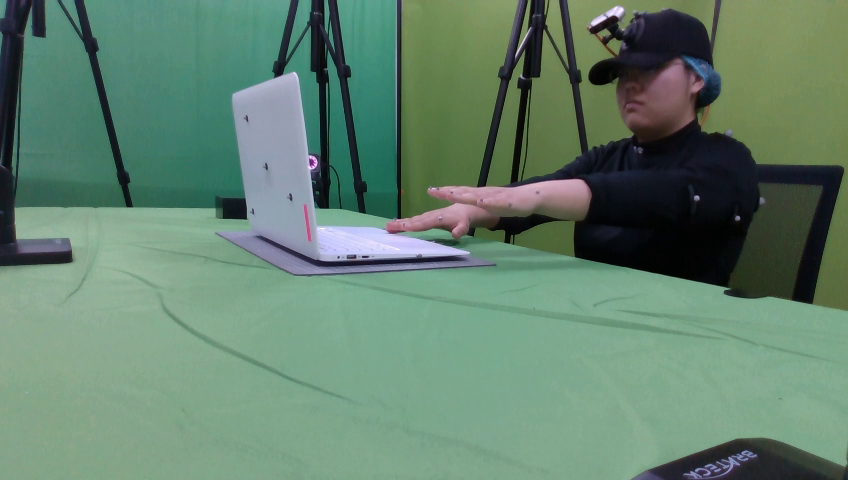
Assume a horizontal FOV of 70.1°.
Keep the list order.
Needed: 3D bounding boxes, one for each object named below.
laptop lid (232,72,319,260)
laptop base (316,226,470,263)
[{"bbox_3d":[-0.229,-0.109,0.888,0.013,0.241,0.355,-10,14,-28],"label":"laptop lid"},{"bbox_3d":[-0.117,0.005,0.971,0.237,0.023,0.352,2,6,-30],"label":"laptop base"}]
